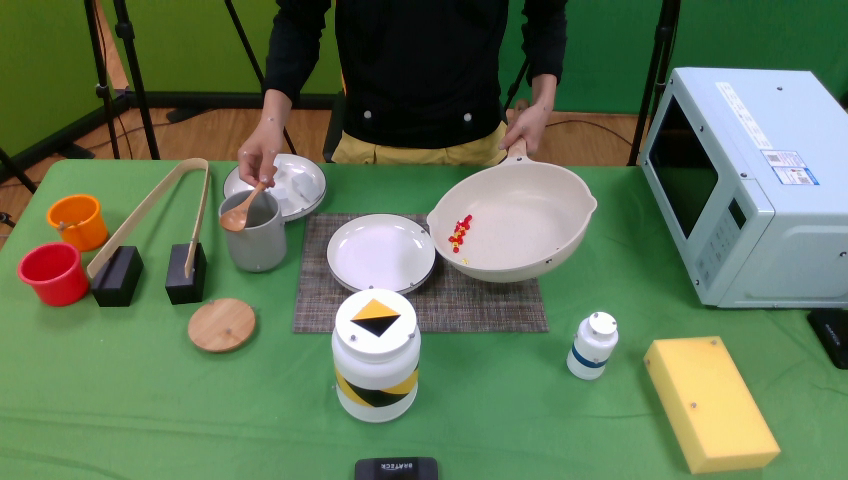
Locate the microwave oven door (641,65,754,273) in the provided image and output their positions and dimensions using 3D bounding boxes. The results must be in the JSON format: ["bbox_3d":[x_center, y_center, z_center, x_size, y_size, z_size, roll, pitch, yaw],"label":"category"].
[{"bbox_3d":[0.524,-0.147,1.193,0.039,0.245,0.353,0,47,-3],"label":"microwave oven door"}]

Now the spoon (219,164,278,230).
[{"bbox_3d":[-0.303,-0.080,1.074,0.042,0.022,0.193,30,47,-6],"label":"spoon"}]

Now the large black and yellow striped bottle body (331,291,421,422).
[{"bbox_3d":[-0.071,0.175,0.911,0.131,0.185,0.130,2,47,-2],"label":"large black and yellow striped bottle body"}]

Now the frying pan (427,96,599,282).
[{"bbox_3d":[0.176,-0.114,1.149,0.306,0.103,0.485,-2,51,20],"label":"frying pan"}]

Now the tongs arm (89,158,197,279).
[{"bbox_3d":[-0.530,-0.056,1.164,0.028,0.028,0.385,0,36,8],"label":"tongs arm"}]

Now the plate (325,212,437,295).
[{"bbox_3d":[-0.080,0.030,1.143,0.209,0.038,0.208,3,46,-2],"label":"plate"}]

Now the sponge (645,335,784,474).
[{"bbox_3d":[0.449,0.253,0.956,0.118,0.061,0.205,-4,46,-7],"label":"sponge"}]

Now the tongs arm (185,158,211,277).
[{"bbox_3d":[-0.445,-0.057,1.168,0.051,0.026,0.382,-5,37,-6],"label":"tongs arm"}]

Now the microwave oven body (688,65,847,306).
[{"bbox_3d":[0.669,-0.111,1.176,0.326,0.261,0.439,0,46,-3],"label":"microwave oven body"}]

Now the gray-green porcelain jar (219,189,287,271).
[{"bbox_3d":[-0.310,-0.014,1.113,0.106,0.127,0.105,2,46,-2],"label":"gray-green porcelain jar"}]

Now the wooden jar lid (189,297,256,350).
[{"bbox_3d":[-0.342,0.145,1.033,0.108,0.021,0.107,2,45,-2],"label":"wooden jar lid"}]

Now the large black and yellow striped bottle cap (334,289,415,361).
[{"bbox_3d":[-0.069,0.117,0.850,0.115,0.019,0.114,2,45,-2],"label":"large black and yellow striped bottle cap"}]

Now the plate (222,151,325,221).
[{"bbox_3d":[-0.310,-0.106,1.263,0.208,0.039,0.206,2,47,-2],"label":"plate"}]

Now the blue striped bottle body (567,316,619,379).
[{"bbox_3d":[0.276,0.168,0.984,0.063,0.121,0.062,2,46,-2],"label":"blue striped bottle body"}]

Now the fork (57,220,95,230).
[{"bbox_3d":[-0.624,-0.027,1.086,0.028,0.207,0.018,-2,92,-17],"label":"fork"}]

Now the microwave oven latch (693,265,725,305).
[{"bbox_3d":[0.523,0.082,1.116,0.030,0.029,0.078,2,46,-1],"label":"microwave oven latch"}]

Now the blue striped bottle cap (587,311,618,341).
[{"bbox_3d":[0.279,0.134,0.946,0.044,0.021,0.044,2,45,-2],"label":"blue striped bottle cap"}]
